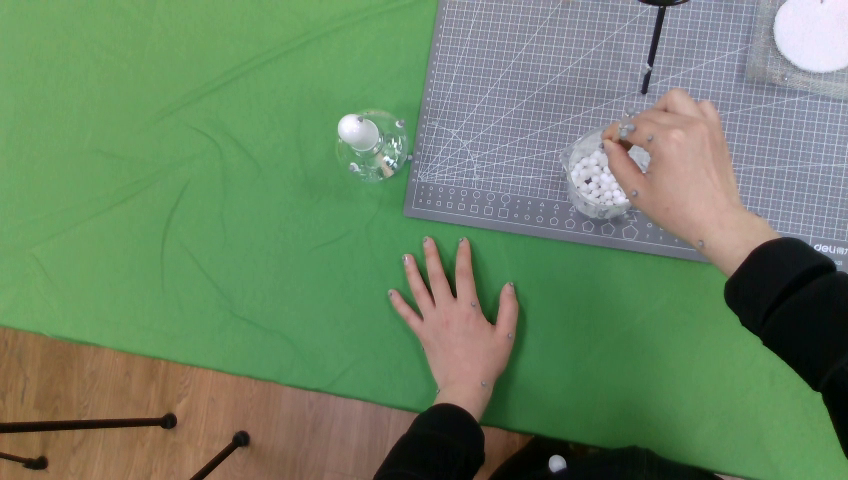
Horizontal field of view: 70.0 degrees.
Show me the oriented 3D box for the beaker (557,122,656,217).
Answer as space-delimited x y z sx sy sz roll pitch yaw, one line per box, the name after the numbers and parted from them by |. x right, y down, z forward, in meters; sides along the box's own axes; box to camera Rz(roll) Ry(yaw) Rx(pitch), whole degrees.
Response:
0.166 -0.062 0.571 0.083 0.100 0.074 16 88 13 | beaker

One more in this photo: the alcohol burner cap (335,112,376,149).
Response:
-0.068 -0.106 0.577 0.034 0.048 0.034 0 89 11 | alcohol burner cap

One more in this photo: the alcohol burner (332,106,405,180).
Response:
-0.060 -0.103 0.612 0.078 0.119 0.077 -1 83 10 | alcohol burner

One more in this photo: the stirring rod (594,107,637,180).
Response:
0.157 -0.076 0.506 0.014 0.177 0.006 -16 78 7 | stirring rod

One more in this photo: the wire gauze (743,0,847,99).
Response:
0.382 -0.204 0.586 0.125 0.011 0.121 14 88 9 | wire gauze

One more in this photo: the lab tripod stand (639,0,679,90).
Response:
0.210 -0.229 0.556 0.148 0.132 0.148 0 87 9 | lab tripod stand
